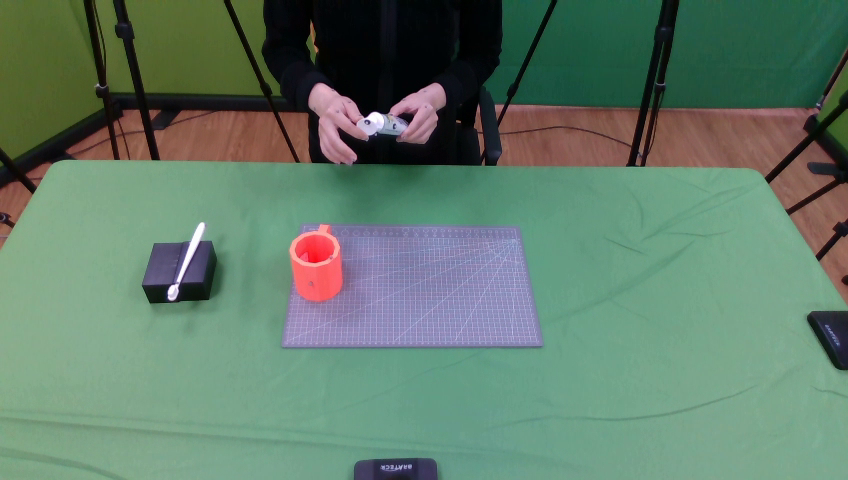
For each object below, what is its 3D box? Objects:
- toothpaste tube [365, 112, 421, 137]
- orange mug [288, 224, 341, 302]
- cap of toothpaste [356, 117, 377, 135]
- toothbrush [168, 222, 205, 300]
[{"bbox_3d":[-0.058,-0.208,1.092,0.055,0.034,0.165,50,24,12],"label":"toothpaste tube"},{"bbox_3d":[-0.192,0.034,1.094,0.083,0.101,0.125,7,50,2],"label":"orange mug"},{"bbox_3d":[-0.095,-0.192,1.012,0.037,0.037,0.011,3,52,-1],"label":"cap of toothpaste"},{"bbox_3d":[-0.419,0.032,1.070,0.014,0.017,0.180,1,46,2],"label":"toothbrush"}]
